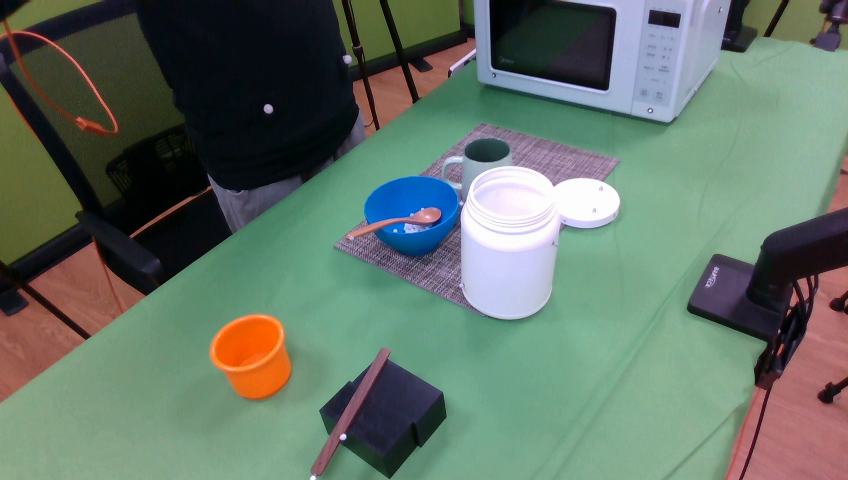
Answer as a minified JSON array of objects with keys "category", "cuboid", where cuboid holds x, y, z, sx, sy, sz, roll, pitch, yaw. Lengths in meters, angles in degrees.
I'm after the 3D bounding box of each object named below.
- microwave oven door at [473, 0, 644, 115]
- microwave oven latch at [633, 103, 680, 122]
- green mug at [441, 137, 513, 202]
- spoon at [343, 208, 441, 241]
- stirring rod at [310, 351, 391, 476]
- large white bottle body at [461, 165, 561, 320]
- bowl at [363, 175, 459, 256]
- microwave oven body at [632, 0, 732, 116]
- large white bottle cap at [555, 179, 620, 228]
[{"category":"microwave oven door","cuboid":[0.257,-0.396,1.199,0.353,0.245,0.039,21,48,29]},{"category":"microwave oven latch","cuboid":[0.444,-0.249,1.157,0.078,0.029,0.030,21,48,30]},{"category":"green mug","cuboid":[0.091,-0.107,1.012,0.125,0.105,0.092,2,42,11]},{"category":"spoon","cuboid":[-0.046,-0.025,0.911,0.041,0.021,0.195,26,27,38]},{"category":"stirring rod","cuboid":[-0.081,0.192,0.693,0.014,0.006,0.176,6,40,25]},{"category":"large white bottle body","cuboid":[0.115,0.004,0.816,0.130,0.185,0.130,-2,43,2]},{"category":"bowl","cuboid":[-0.016,-0.028,0.955,0.151,0.077,0.150,-4,40,4]},{"category":"microwave oven body","cuboid":[0.377,-0.462,1.267,0.438,0.261,0.327,21,48,30]},{"category":"large white bottle cap","cuboid":[0.265,-0.062,1.001,0.115,0.018,0.114,-3,41,3]}]
